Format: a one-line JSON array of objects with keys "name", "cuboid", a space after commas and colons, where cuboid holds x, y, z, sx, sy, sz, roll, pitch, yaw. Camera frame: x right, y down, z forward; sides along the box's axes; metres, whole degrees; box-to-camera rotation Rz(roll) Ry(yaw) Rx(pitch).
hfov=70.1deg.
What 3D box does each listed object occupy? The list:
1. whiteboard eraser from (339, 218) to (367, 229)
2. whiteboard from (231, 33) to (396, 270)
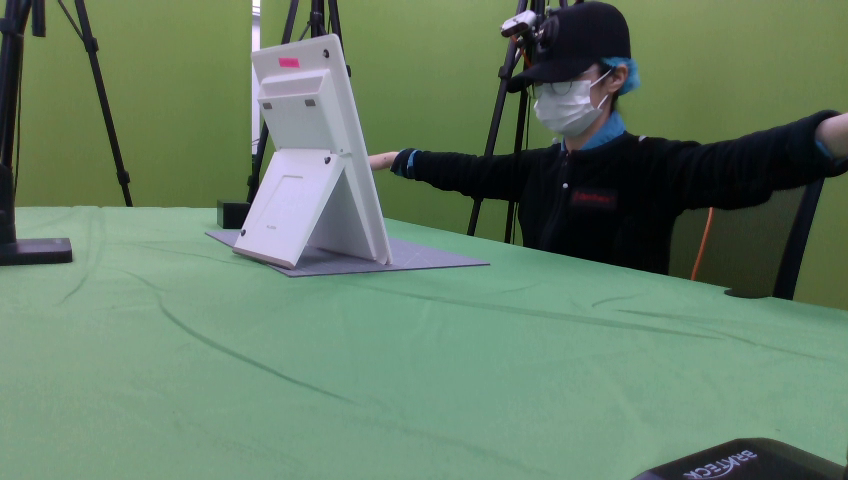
[{"name": "whiteboard eraser", "cuboid": [-0.146, -0.036, 1.246, 0.041, 0.019, 0.101, 2, 5, 9]}, {"name": "whiteboard", "cuboid": [-0.193, -0.094, 0.805, 0.144, 0.305, 0.216, -29, 25, -35]}]
